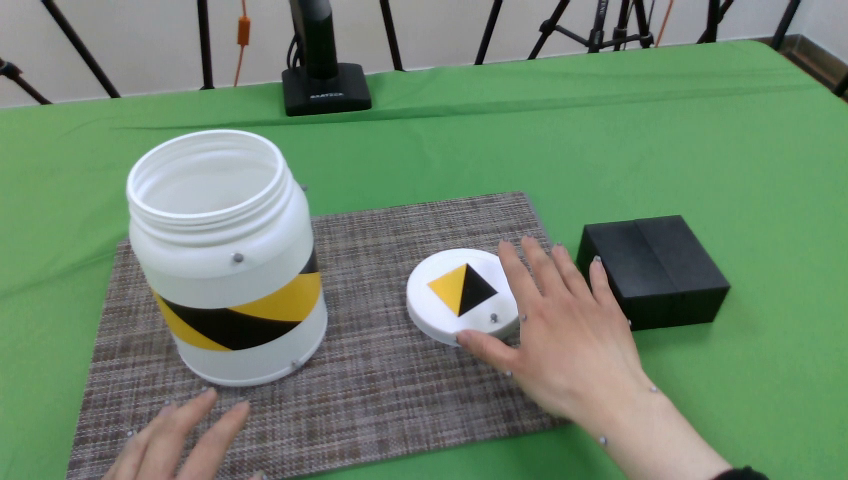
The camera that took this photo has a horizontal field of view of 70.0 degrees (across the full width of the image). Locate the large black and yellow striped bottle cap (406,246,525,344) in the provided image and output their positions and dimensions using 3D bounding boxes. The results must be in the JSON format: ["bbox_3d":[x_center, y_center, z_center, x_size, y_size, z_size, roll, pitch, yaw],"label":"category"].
[{"bbox_3d":[0.040,0.049,0.582,0.115,0.019,0.114,0,42,1],"label":"large black and yellow striped bottle cap"}]

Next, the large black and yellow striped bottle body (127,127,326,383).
[{"bbox_3d":[-0.154,0.014,0.494,0.131,0.185,0.129,0,43,0],"label":"large black and yellow striped bottle body"}]
